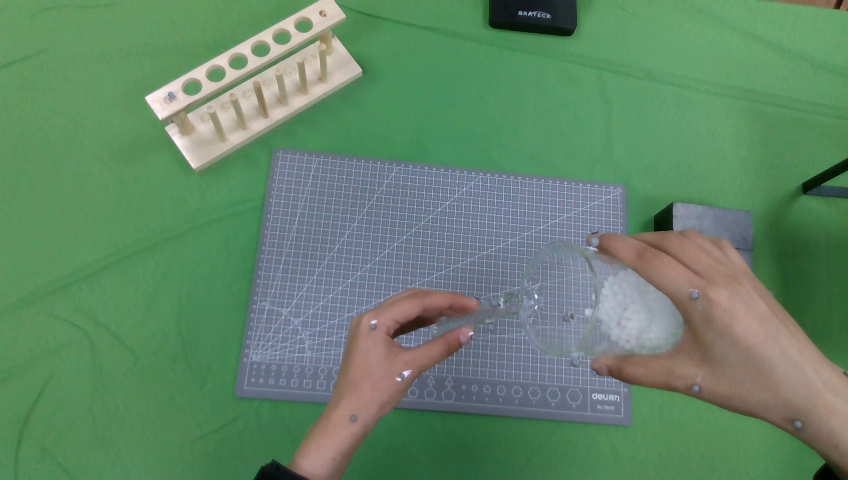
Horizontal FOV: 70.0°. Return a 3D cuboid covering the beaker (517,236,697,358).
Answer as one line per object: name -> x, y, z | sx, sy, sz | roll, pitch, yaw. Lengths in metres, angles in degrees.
beaker -> 0.123, 0.043, 0.410 | 0.101, 0.083, 0.073 | 9, 78, -28

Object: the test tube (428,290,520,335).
test tube -> 0.035, 0.061, 0.490 | 0.017, 0.150, 0.017 | 6, 73, -20

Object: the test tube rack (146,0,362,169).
test tube rack -> -0.193, -0.189, 0.723 | 0.242, 0.085, 0.066 | -35, 80, -14
